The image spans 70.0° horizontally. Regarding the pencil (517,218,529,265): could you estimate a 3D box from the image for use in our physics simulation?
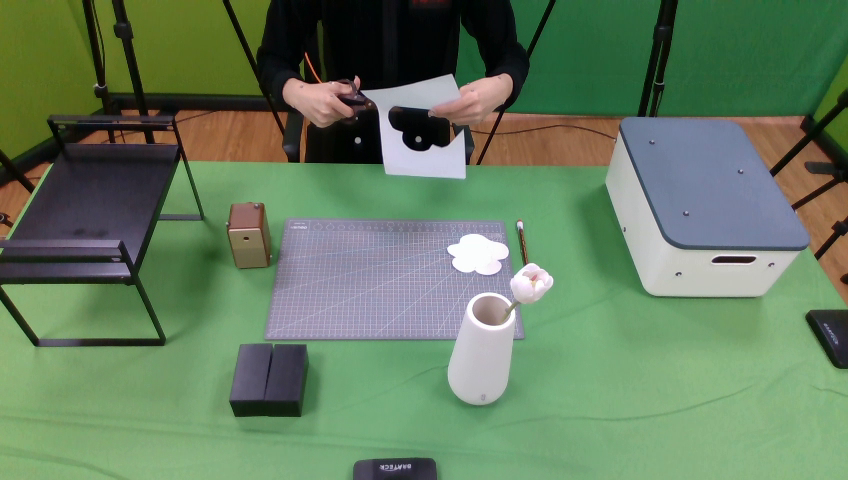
[{"bbox_3d":[0.201,0.028,1.197,0.012,0.012,0.193,1,48,-3],"label":"pencil"}]

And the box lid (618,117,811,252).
[{"bbox_3d":[0.534,-0.117,1.149,0.263,0.015,0.369,0,47,-3],"label":"box lid"}]

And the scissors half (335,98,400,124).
[{"bbox_3d":[-0.104,-0.238,1.099,0.174,0.040,0.013,0,15,44],"label":"scissors half"}]

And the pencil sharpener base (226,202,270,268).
[{"bbox_3d":[-0.323,-0.010,1.123,0.061,0.107,0.076,-3,46,-7],"label":"pencil sharpener base"}]

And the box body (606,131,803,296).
[{"bbox_3d":[0.530,-0.067,1.204,0.254,0.161,0.361,0,46,-4],"label":"box body"}]

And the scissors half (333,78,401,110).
[{"bbox_3d":[-0.105,-0.259,1.092,0.174,0.040,0.013,28,38,33],"label":"scissors half"}]

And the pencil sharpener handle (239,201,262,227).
[{"bbox_3d":[-0.325,-0.055,1.150,0.036,0.068,0.030,-12,46,3],"label":"pencil sharpener handle"}]

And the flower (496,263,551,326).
[{"bbox_3d":[0.102,0.120,0.853,0.044,0.363,0.038,-2,64,-10],"label":"flower"}]

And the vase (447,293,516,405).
[{"bbox_3d":[0.091,0.169,0.921,0.098,0.201,0.097,3,47,-3],"label":"vase"}]
